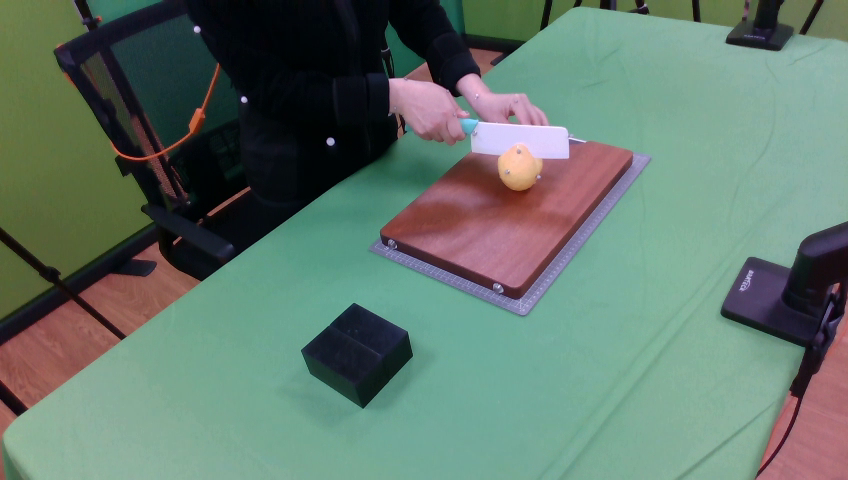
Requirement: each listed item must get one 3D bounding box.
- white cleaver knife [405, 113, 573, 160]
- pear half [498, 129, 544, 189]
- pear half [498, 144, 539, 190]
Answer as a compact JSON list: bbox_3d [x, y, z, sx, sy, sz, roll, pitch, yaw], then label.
[{"bbox_3d":[0.100,-0.168,0.991,0.285,0.066,0.021,10,37,20],"label":"white cleaver knife"},{"bbox_3d":[0.165,-0.146,1.015,0.076,0.110,0.056,10,45,15],"label":"pear half"},{"bbox_3d":[0.154,-0.115,0.997,0.070,0.088,0.031,9,46,13],"label":"pear half"}]
